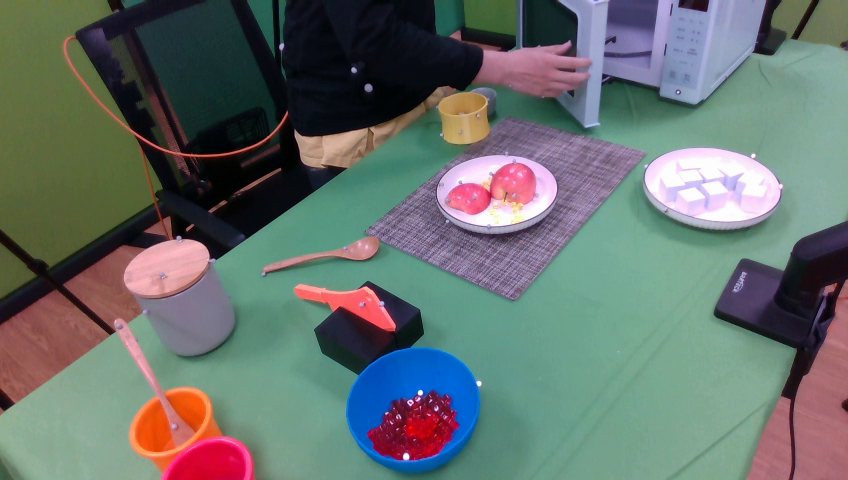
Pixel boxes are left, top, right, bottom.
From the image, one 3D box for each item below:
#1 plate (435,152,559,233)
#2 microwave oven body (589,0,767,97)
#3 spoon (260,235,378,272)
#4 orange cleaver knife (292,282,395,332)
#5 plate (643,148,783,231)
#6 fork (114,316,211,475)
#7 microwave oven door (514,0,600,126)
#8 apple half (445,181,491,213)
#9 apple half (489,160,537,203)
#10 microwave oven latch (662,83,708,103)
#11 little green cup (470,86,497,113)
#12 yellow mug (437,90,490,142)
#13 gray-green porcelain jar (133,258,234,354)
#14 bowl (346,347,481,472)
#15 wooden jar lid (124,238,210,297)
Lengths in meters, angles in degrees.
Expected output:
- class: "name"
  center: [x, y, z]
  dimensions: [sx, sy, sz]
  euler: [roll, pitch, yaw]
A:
- class: "plate"
  center: [0.124, -0.078, 1.026]
  dimensions: [0.209, 0.038, 0.208]
  euler: [-4, 40, 4]
- class: "microwave oven body"
  center: [0.474, -0.516, 1.314]
  dimensions: [0.438, 0.261, 0.327]
  euler: [26, 52, 34]
- class: "spoon"
  center: [-0.168, 0.024, 0.966]
  dimensions: [0.194, 0.022, 0.041]
  euler: [-10, 58, -4]
- class: "orange cleaver knife"
  center: [-0.116, 0.091, 0.835]
  dimensions: [0.209, 0.077, 0.012]
  euler: [2, 32, 48]
- class: "plate"
  center: [0.464, -0.080, 0.986]
  dimensions: [0.207, 0.039, 0.206]
  euler: [-4, 41, 4]
- class: "fork"
  center: [-0.309, 0.180, 0.708]
  dimensions: [0.028, 0.018, 0.207]
  euler: [-29, 89, -24]
- class: "microwave oven door"
  center: [0.265, -0.419, 1.224]
  dimensions: [0.039, 0.245, 0.353]
  euler: [-15, 41, -8]
- class: "apple half"
  center: [0.076, -0.083, 1.029]
  dimensions: [0.081, 0.033, 0.081]
  euler: [-2, 41, 2]
- class: "apple half"
  center: [0.154, -0.106, 1.030]
  dimensions: [0.080, 0.053, 0.075]
  euler: [22, 46, 31]
- class: "microwave oven latch"
  center: [0.517, -0.297, 1.204]
  dimensions: [0.078, 0.029, 0.030]
  euler: [26, 52, 33]
- class: "little green cup"
  center: [0.124, -0.297, 1.286]
  dimensions: [0.061, 0.039, 0.061]
  euler: [-3, 42, 3]
- class: "yellow mug"
  center: [0.070, -0.257, 1.224]
  dimensions: [0.100, 0.064, 0.129]
  euler: [-33, 43, -25]
- class: "gray-green porcelain jar"
  center: [-0.328, 0.087, 0.836]
  dimensions: [0.106, 0.127, 0.105]
  euler: [-4, 41, 4]
- class: "bowl"
  center: [-0.008, 0.205, 0.690]
  dimensions: [0.151, 0.077, 0.150]
  euler: [-4, 40, 4]
- class: "wooden jar lid"
  center: [-0.335, 0.039, 0.794]
  dimensions: [0.108, 0.021, 0.108]
  euler: [-2, 40, 2]
